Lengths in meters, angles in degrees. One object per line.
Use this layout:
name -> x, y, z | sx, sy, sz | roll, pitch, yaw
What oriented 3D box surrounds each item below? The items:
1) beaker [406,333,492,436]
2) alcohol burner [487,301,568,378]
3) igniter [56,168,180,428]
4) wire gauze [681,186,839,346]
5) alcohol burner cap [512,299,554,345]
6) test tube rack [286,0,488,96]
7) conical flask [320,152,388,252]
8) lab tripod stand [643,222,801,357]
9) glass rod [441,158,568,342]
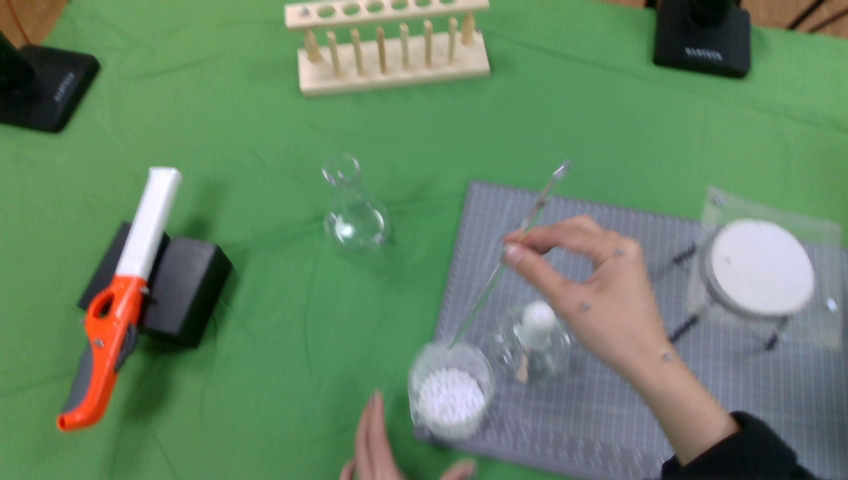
beaker -> 0.021, 0.140, 0.559 | 0.073, 0.101, 0.084 | 41, 72, 20
alcohol burner -> 0.101, 0.089, 0.575 | 0.078, 0.120, 0.077 | 0, 63, 0
igniter -> -0.298, 0.047, 0.603 | 0.057, 0.025, 0.274 | 3, 63, 8
wire gauze -> 0.291, 0.019, 0.518 | 0.121, 0.011, 0.124 | 17, 66, 8
alcohol burner cap -> 0.100, 0.071, 0.543 | 0.034, 0.048, 0.033 | 2, 58, -3
test tube rack -> -0.042, -0.247, 0.759 | 0.242, 0.086, 0.066 | -7, 64, -2
conical flask -> -0.080, -0.044, 0.641 | 0.075, 0.123, 0.074 | -1, 64, 2
lab tripod stand -> 0.284, 0.052, 0.578 | 0.148, 0.132, 0.147 | 0, 63, 0
glass rod -> 0.050, 0.017, 0.431 | 0.008, 0.201, 0.008 | 14, 45, -14
